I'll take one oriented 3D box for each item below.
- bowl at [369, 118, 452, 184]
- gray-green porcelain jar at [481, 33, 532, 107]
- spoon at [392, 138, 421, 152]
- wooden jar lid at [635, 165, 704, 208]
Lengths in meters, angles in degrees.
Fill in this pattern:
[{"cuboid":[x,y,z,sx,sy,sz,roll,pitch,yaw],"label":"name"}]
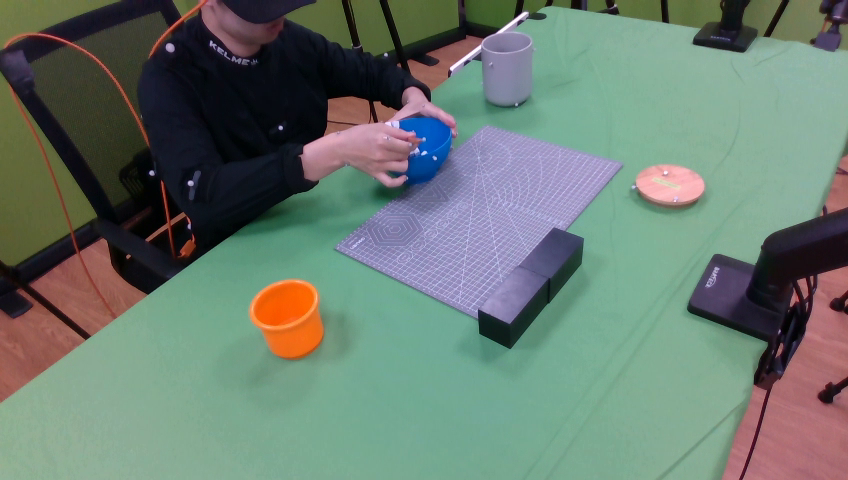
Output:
[{"cuboid":[-0.019,-0.154,1.106,0.151,0.077,0.150,-6,38,5],"label":"bowl"},{"cuboid":[0.175,-0.355,1.278,0.106,0.127,0.105,-4,41,4],"label":"gray-green porcelain jar"},{"cuboid":[-0.027,-0.165,1.036,0.042,0.021,0.193,-2,5,-8],"label":"spoon"},{"cuboid":[0.410,-0.089,1.014,0.108,0.021,0.108,-5,42,5],"label":"wooden jar lid"}]
